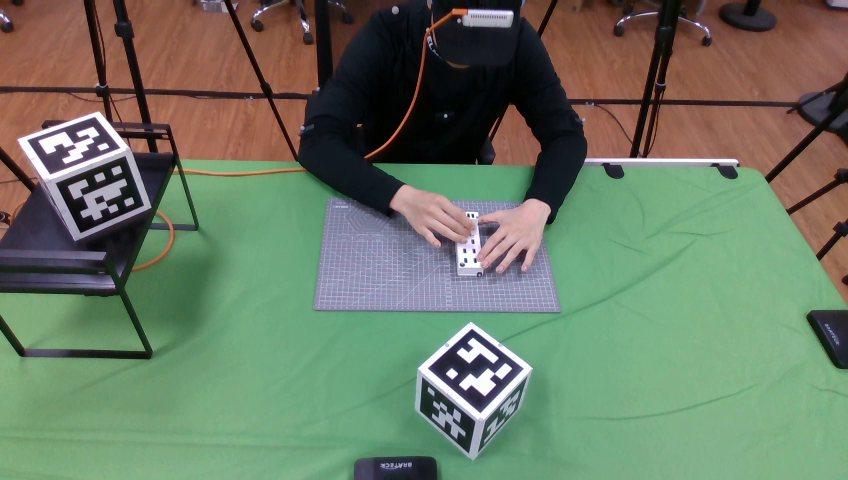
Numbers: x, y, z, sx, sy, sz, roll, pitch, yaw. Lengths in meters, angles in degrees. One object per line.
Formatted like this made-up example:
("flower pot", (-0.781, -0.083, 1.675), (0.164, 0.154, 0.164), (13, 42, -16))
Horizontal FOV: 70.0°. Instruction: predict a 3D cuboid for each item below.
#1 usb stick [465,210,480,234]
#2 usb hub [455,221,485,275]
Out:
("usb stick", (0.096, -0.030, 1.178), (0.027, 0.059, 0.021), (-8, 47, 6))
("usb hub", (0.088, 0.014, 1.178), (0.049, 0.025, 0.124), (0, 46, -3))
